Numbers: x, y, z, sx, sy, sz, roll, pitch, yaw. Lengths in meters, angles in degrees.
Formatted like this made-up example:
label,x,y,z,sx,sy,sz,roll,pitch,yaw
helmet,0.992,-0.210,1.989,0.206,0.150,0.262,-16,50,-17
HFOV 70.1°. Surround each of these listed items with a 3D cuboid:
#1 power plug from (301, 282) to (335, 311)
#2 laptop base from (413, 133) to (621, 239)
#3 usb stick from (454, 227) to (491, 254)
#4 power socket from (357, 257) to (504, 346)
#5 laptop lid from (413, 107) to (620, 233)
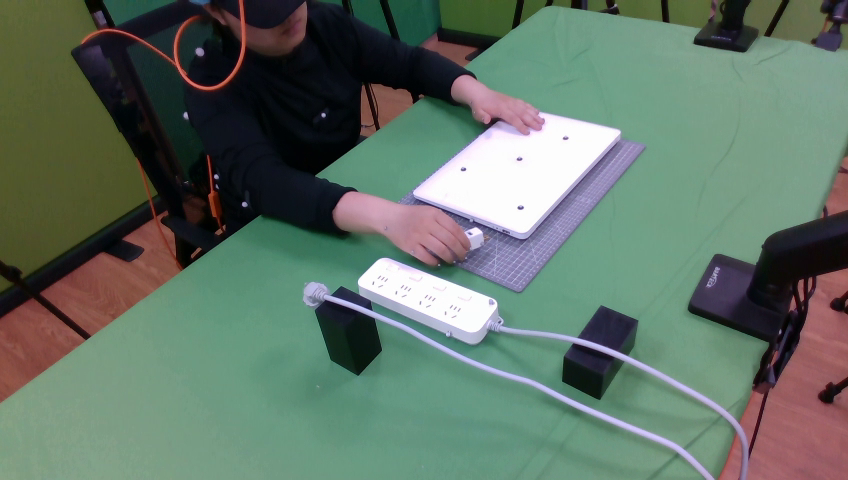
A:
label,x,y,z,sx,sy,sz,roll,pitch,yaw
power plug,-0.134,0.081,0.783,0.035,0.053,0.072,-43,48,-7
laptop base,0.176,-0.134,1.101,0.233,0.023,0.355,21,48,33
usb stick,0.076,-0.002,0.929,0.059,0.027,0.021,-18,32,-22
power socket,0.002,0.084,0.862,0.225,0.033,0.072,20,49,28
laptop lid,0.173,-0.144,1.095,0.239,0.013,0.358,23,49,34
